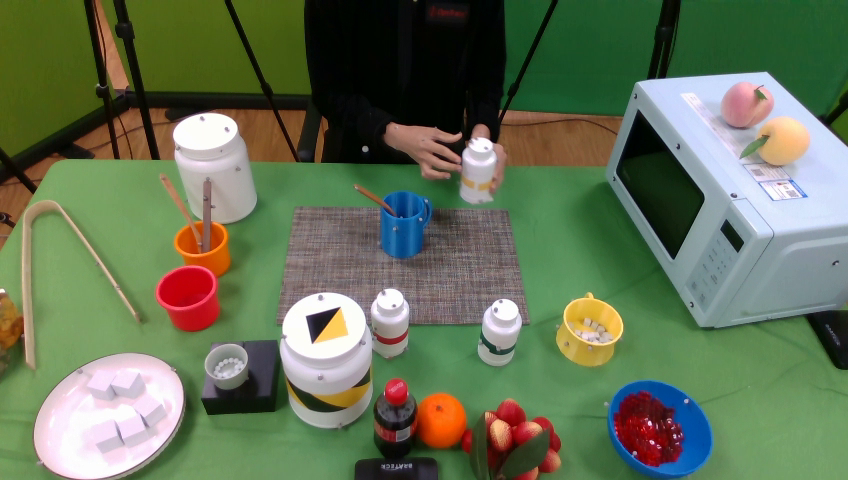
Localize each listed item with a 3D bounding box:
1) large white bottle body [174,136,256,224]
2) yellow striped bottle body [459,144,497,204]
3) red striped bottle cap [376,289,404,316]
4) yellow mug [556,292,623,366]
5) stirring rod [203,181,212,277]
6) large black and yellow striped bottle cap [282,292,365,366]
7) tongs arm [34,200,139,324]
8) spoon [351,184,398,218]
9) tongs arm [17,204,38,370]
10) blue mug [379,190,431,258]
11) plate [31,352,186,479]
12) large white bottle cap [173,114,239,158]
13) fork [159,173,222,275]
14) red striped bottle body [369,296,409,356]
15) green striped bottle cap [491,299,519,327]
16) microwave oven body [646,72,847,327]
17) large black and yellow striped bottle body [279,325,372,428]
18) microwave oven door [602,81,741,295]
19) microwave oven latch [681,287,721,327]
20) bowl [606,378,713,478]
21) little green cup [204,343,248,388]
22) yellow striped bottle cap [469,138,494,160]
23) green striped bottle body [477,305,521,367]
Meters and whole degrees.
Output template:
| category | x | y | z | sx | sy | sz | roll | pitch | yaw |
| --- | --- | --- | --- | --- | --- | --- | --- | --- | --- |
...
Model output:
| category | x | y | z | sx | sy | sz | roll | pitch | yaw |
| --- | --- | --- | --- | --- | --- | --- | --- | --- | --- |
| large white bottle body | -0.408 | -0.137 | 1.183 | 0.131 | 0.185 | 0.130 | 2 | 46 | -2 |
| yellow striped bottle body | 0.102 | -0.130 | 1.132 | 0.063 | 0.121 | 0.062 | 2 | 48 | -2 |
| red striped bottle cap | -0.054 | 0.098 | 0.958 | 0.044 | 0.018 | 0.044 | 0 | 48 | 0 |
| yellow mug | 0.285 | 0.145 | 1.051 | 0.100 | 0.064 | 0.130 | 7 | 45 | 3 |
| stirring rod | -0.396 | -0.021 | 1.108 | 0.014 | 0.006 | 0.176 | -1 | 89 | -1 |
| large black and yellow striped bottle cap | -0.138 | 0.121 | 0.841 | 0.115 | 0.019 | 0.114 | 3 | 47 | -3 |
| tongs arm | -0.622 | 0.034 | 1.105 | 0.051 | 0.026 | 0.382 | -32 | 56 | -26 |
| spoon | -0.070 | -0.056 | 1.124 | 0.021 | 0.195 | 0.041 | -34 | 47 | 13 |
| tongs arm | -0.698 | 0.069 | 1.069 | 0.028 | 0.028 | 0.385 | -20 | 50 | -13 |
| blue mug | -0.032 | -0.037 | 1.169 | 0.116 | 0.106 | 0.082 | -29 | 55 | -28 |
| plate | -0.459 | 0.262 | 0.898 | 0.209 | 0.038 | 0.208 | 2 | 46 | -2 |
| large white bottle cap | -0.403 | -0.195 | 1.122 | 0.115 | 0.018 | 0.114 | 2 | 47 | -2 |
| fork | -0.427 | -0.029 | 1.103 | 0.028 | 0.018 | 0.207 | -31 | 99 | -30 |
| red striped bottle body | -0.058 | 0.134 | 0.997 | 0.063 | 0.120 | 0.062 | 4 | 47 | -4 |
| green striped bottle cap | 0.128 | 0.115 | 0.957 | 0.044 | 0.020 | 0.044 | 0 | 45 | 0 |
| microwave oven body | 0.607 | -0.089 | 1.164 | 0.326 | 0.261 | 0.438 | -7 | 46 | -10 |
| large black and yellow striped bottle body | -0.143 | 0.181 | 0.900 | 0.131 | 0.185 | 0.130 | 2 | 46 | -2 |
| microwave oven door | 0.456 | -0.107 | 1.162 | 0.039 | 0.245 | 0.353 | -6 | 47 | -11 |
| microwave oven latch | 0.494 | 0.119 | 1.087 | 0.030 | 0.029 | 0.078 | -6 | 46 | -9 |
| bowl | 0.340 | 0.292 | 0.906 | 0.151 | 0.077 | 0.150 | 2 | 46 | -2 |
| little green cup | -0.294 | 0.190 | 0.909 | 0.061 | 0.039 | 0.061 | 1 | 48 | 0 |
| yellow striped bottle cap | 0.104 | -0.165 | 1.095 | 0.044 | 0.019 | 0.044 | 1 | 45 | -1 |
| green striped bottle body | 0.124 | 0.151 | 0.995 | 0.063 | 0.120 | 0.063 | 2 | 46 | -1 |
